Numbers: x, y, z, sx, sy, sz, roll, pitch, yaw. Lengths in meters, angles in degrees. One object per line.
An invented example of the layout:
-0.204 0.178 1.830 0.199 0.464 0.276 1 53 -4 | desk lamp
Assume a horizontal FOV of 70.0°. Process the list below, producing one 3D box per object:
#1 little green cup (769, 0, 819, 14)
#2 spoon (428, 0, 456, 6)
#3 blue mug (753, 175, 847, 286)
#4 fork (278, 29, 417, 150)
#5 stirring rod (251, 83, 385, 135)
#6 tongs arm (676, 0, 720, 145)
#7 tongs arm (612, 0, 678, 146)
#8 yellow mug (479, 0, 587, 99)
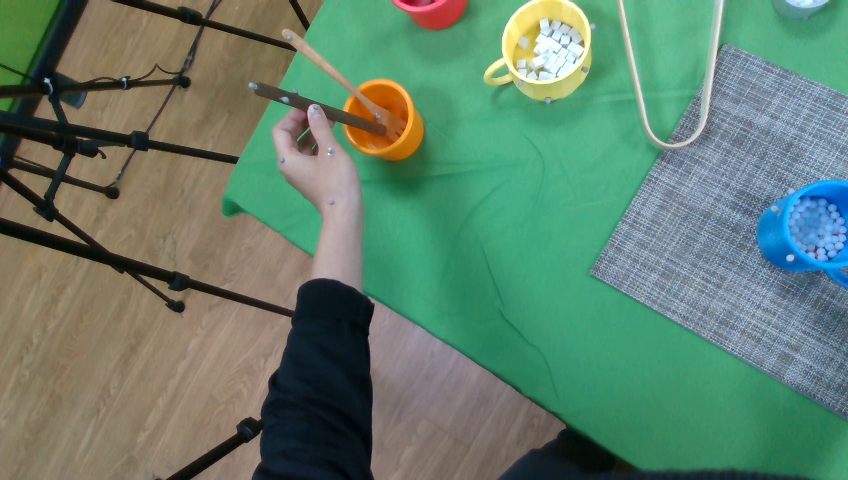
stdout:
0.406 -0.278 0.656 0.061 0.039 0.061 -1 88 16 | little green cup
-0.043 -0.322 0.728 0.195 0.021 0.041 6 86 -28 | spoon
0.396 -0.002 0.604 0.082 0.106 0.116 -35 78 11 | blue mug
-0.088 -0.179 0.728 0.209 0.018 0.028 37 97 -29 | fork
-0.112 -0.143 0.672 0.005 0.177 0.014 15 94 45 | stirring rod
0.314 -0.300 0.666 0.028 0.028 0.388 5 95 8 | tongs arm
0.232 -0.294 0.685 0.050 0.026 0.384 -9 91 11 | tongs arm
0.126 -0.218 0.716 0.131 0.064 0.099 -23 82 14 | yellow mug
